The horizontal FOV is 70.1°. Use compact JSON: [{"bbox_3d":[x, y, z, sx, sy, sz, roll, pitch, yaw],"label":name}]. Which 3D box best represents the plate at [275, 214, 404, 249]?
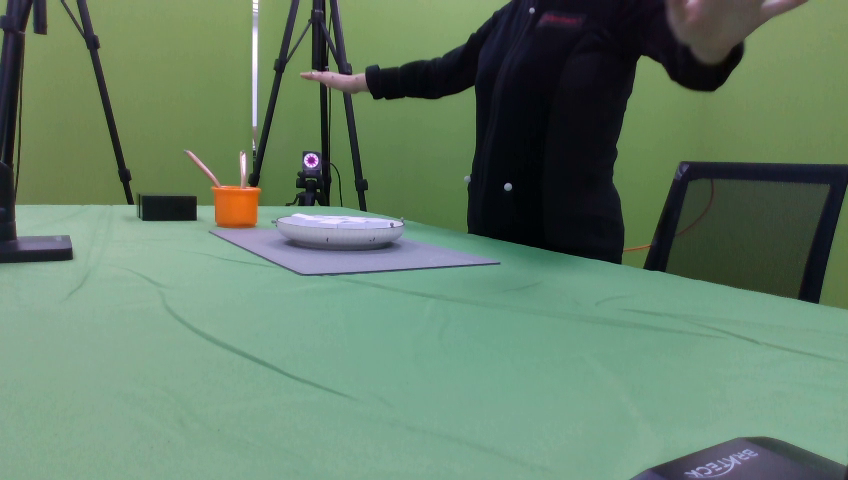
[{"bbox_3d":[-0.135,-0.013,0.982,0.208,0.039,0.207,3,7,0],"label":"plate"}]

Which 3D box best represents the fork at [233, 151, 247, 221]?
[{"bbox_3d":[-0.366,-0.112,1.215,0.028,0.018,0.206,16,44,-29],"label":"fork"}]

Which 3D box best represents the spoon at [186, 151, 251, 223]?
[{"bbox_3d":[-0.401,-0.103,1.176,0.021,0.193,0.042,-41,-9,25],"label":"spoon"}]
